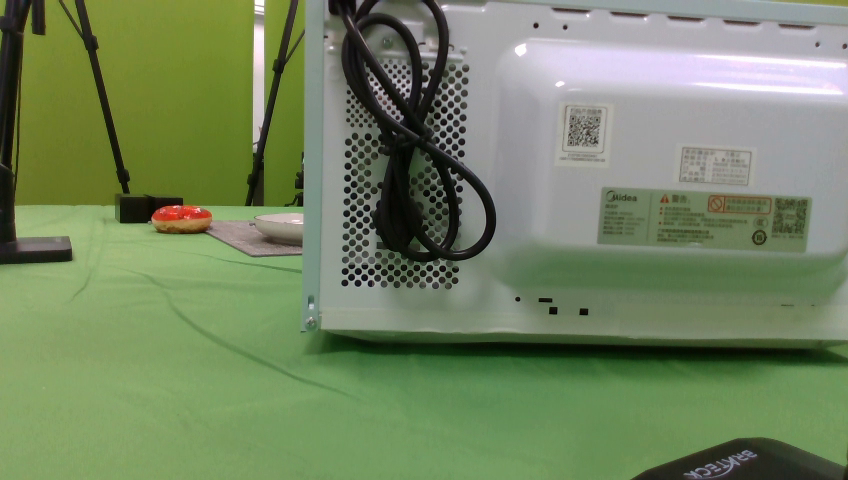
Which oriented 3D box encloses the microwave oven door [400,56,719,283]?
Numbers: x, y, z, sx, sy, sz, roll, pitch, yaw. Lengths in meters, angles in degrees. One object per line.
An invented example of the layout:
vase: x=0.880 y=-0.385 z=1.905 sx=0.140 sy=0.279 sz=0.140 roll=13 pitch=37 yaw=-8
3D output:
microwave oven door: x=0.155 y=-0.078 z=0.697 sx=0.356 sy=0.243 sz=0.039 roll=2 pitch=8 yaw=-5

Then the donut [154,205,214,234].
donut: x=-0.426 y=-0.037 z=1.075 sx=0.099 sy=0.048 sz=0.099 roll=2 pitch=12 yaw=0

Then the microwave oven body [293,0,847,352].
microwave oven body: x=0.122 y=-0.055 z=0.550 sx=0.442 sy=0.260 sz=0.325 roll=3 pitch=7 yaw=-5

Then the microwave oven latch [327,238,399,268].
microwave oven latch: x=-0.069 y=0.015 z=0.694 sx=0.079 sy=0.029 sz=0.030 roll=3 pitch=7 yaw=-3

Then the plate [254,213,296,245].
plate: x=-0.177 y=-0.018 z=1.017 sx=0.208 sy=0.039 sz=0.207 roll=2 pitch=7 yaw=0

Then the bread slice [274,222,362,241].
bread slice: x=-0.182 y=-0.016 z=1.011 sx=0.104 sy=0.019 sz=0.132 roll=6 pitch=8 yaw=27
